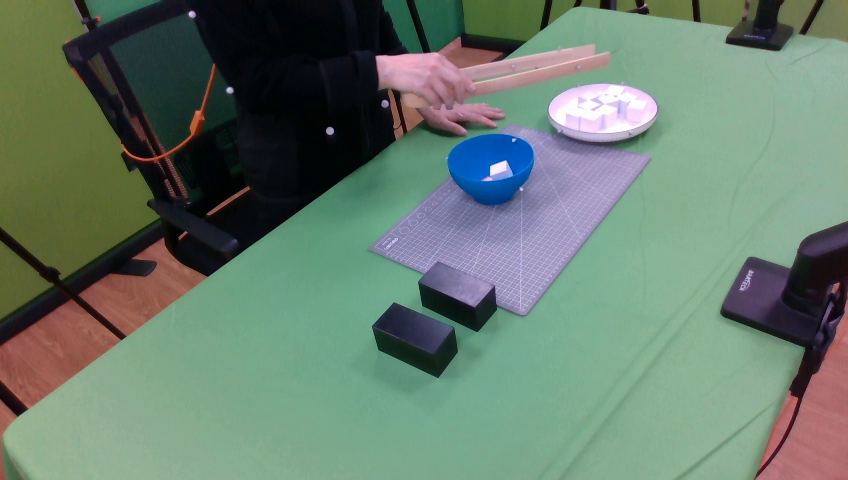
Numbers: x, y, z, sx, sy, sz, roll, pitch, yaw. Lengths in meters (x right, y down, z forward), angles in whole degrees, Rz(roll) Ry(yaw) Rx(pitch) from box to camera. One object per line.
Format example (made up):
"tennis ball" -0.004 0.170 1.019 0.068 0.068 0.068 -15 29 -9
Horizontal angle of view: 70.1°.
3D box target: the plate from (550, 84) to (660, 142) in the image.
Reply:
"plate" 0.355 -0.247 1.195 0.207 0.039 0.206 -5 39 5

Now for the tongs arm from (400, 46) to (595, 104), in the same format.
"tongs arm" 0.140 -0.293 1.063 0.386 0.026 0.050 -12 44 -13

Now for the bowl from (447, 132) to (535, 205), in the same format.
"bowl" 0.119 -0.115 1.051 0.151 0.077 0.150 -6 40 5

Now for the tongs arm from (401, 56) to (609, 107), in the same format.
"tongs arm" 0.150 -0.276 1.043 0.389 0.028 0.028 -14 48 -14
